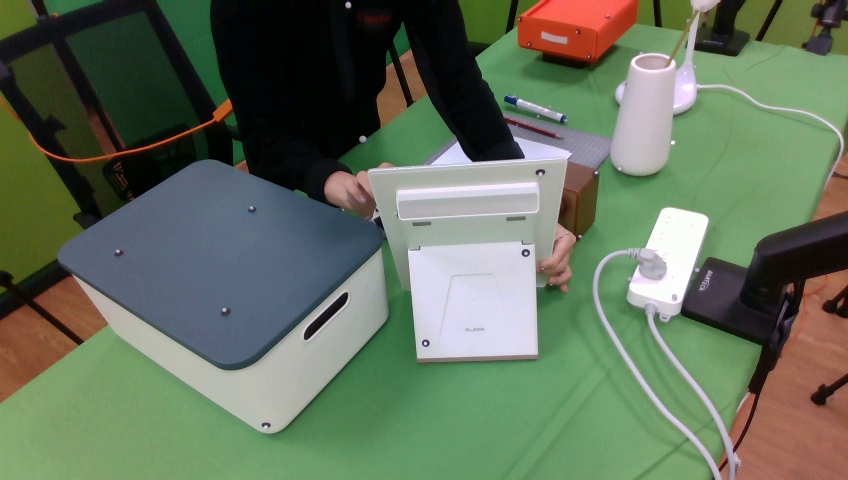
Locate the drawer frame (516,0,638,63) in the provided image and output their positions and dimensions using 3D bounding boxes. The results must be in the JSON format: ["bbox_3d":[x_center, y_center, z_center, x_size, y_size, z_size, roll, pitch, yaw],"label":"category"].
[{"bbox_3d":[0.355,-0.508,1.410,0.200,0.083,0.214,23,51,32],"label":"drawer frame"}]

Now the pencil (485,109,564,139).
[{"bbox_3d":[0.201,-0.235,1.228,0.192,0.012,0.012,28,51,33],"label":"pencil"}]

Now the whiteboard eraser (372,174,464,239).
[{"bbox_3d":[-0.009,-0.037,0.758,0.112,0.056,0.041,-26,50,34],"label":"whiteboard eraser"}]

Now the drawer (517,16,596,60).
[{"bbox_3d":[0.352,-0.506,1.405,0.193,0.073,0.212,23,49,32],"label":"drawer"}]

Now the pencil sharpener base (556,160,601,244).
[{"bbox_3d":[0.228,-0.057,0.945,0.061,0.107,0.077,24,50,31],"label":"pencil sharpener base"}]

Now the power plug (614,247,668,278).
[{"bbox_3d":[0.306,0.031,0.851,0.072,0.053,0.035,24,49,33],"label":"power plug"}]

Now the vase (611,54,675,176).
[{"bbox_3d":[0.377,-0.209,1.031,0.098,0.201,0.097,-3,40,3],"label":"vase"}]

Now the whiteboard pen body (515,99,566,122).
[{"bbox_3d":[0.234,-0.274,1.262,0.139,0.017,0.017,28,51,29],"label":"whiteboard pen body"}]

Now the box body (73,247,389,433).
[{"bbox_3d":[-0.255,0.065,0.827,0.361,0.161,0.255,21,48,29],"label":"box body"}]

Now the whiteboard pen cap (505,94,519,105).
[{"bbox_3d":[0.190,-0.299,1.292,0.033,0.018,0.018,30,52,28],"label":"whiteboard pen cap"}]

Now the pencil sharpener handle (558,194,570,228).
[{"bbox_3d":[0.195,-0.038,0.908,0.035,0.068,0.031,24,50,31],"label":"pencil sharpener handle"}]

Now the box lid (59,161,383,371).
[{"bbox_3d":[-0.262,0.010,0.777,0.369,0.015,0.264,21,48,29],"label":"box lid"}]

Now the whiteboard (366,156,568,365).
[{"bbox_3d":[0.059,0.050,0.738,0.217,0.307,0.143,-2,60,5],"label":"whiteboard"}]

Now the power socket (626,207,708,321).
[{"bbox_3d":[0.359,0.026,0.886,0.072,0.033,0.227,16,46,26],"label":"power socket"}]

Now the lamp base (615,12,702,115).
[{"bbox_3d":[0.484,-0.363,1.211,0.180,0.181,0.159,-15,41,-14],"label":"lamp base"}]

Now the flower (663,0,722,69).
[{"bbox_3d":[0.379,-0.261,0.965,0.044,0.362,0.038,20,53,5],"label":"flower"}]
